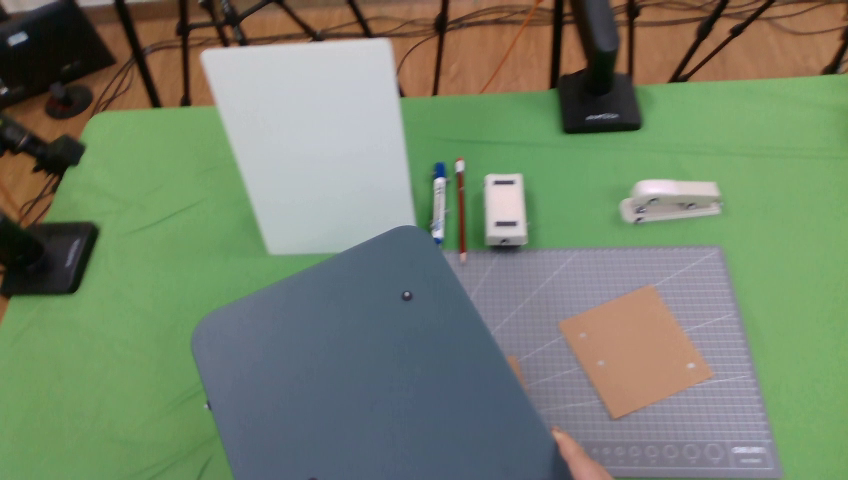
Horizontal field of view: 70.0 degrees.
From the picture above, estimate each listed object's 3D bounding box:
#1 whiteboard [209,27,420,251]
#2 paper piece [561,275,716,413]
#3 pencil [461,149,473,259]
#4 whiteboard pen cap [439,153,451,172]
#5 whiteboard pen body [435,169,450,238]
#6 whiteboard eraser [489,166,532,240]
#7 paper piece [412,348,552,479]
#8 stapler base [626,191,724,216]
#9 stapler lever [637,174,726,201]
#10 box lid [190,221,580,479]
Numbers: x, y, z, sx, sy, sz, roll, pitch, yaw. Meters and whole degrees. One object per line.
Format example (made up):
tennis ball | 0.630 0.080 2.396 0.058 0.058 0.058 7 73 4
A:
whiteboard | -0.117 -0.149 0.813 0.217 0.308 0.142 -1 39 6
paper piece | 0.259 0.124 0.741 0.136 0.009 0.137 -22 59 -4
pencil | 0.063 -0.056 0.874 0.012 0.012 0.192 -3 58 4
whiteboard pen cap | 0.032 -0.114 0.908 0.018 0.018 0.033 -2 57 5
whiteboard pen body | 0.028 -0.064 0.879 0.017 0.017 0.139 0 58 6
whiteboard eraser | 0.120 -0.052 0.847 0.055 0.042 0.111 -2 58 6
paper piece | 0.064 0.203 0.711 0.135 0.004 0.134 -14 58 -2
stapler base | 0.349 -0.061 0.839 0.130 0.024 0.041 -5 60 1
stapler lever | 0.349 -0.074 0.819 0.118 0.040 0.026 -6 60 2
box lid | -0.040 0.163 0.547 0.263 0.015 0.368 -25 63 -11
